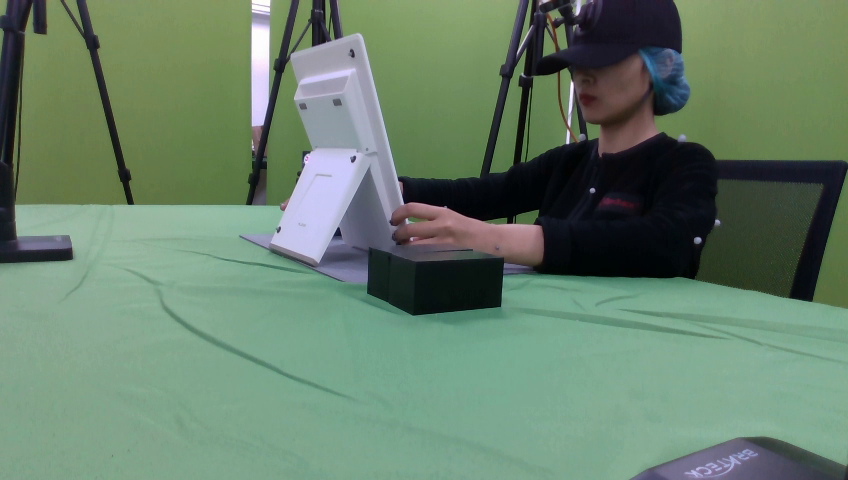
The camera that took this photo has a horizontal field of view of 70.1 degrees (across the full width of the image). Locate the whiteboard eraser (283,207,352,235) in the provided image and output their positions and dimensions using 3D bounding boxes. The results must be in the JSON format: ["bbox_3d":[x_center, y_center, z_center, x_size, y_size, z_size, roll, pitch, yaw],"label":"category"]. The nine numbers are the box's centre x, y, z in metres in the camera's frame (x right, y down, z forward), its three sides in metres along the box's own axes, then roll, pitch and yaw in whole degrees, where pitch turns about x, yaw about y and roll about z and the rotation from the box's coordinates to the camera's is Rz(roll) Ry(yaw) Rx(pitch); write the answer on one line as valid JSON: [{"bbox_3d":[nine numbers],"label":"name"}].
[{"bbox_3d":[-0.188,-0.033,1.067,0.113,0.042,0.055,7,-2,-35],"label":"whiteboard eraser"}]

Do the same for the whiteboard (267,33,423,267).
[{"bbox_3d":[-0.153,-0.097,0.818,0.144,0.305,0.216,-24,20,-28],"label":"whiteboard"}]
